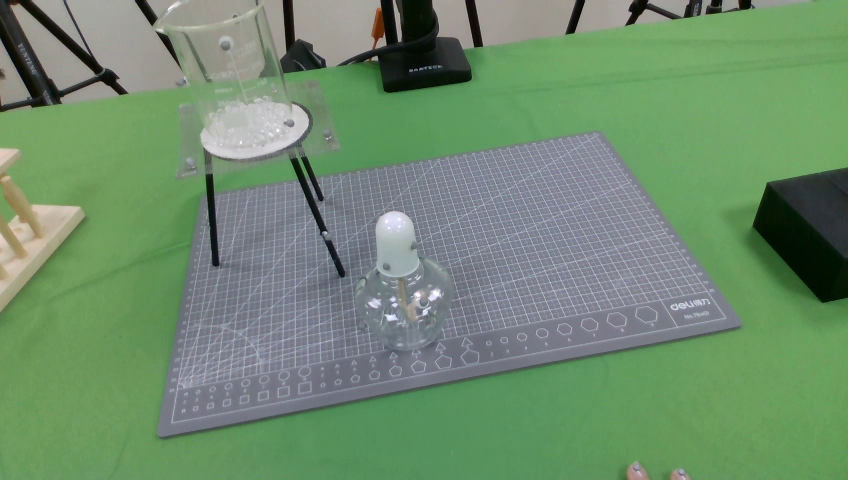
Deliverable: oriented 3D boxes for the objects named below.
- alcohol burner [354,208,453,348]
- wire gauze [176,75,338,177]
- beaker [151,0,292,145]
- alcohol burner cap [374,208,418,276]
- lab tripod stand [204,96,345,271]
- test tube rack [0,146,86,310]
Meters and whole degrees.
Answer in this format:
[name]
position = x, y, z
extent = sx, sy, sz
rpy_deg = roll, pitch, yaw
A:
[alcohol burner]
position = -0.018, 0.026, 0.460
extent = 0.078, 0.120, 0.077
rpy_deg = -4, 40, 4
[wire gauze]
position = -0.139, -0.094, 0.494
extent = 0.125, 0.011, 0.120
rpy_deg = -16, 41, -6
[beaker]
position = -0.148, -0.130, 0.461
extent = 0.084, 0.101, 0.073
rpy_deg = -14, 42, -7
[alcohol burner cap]
position = -0.021, 0.000, 0.436
extent = 0.034, 0.048, 0.033
rpy_deg = -1, 39, 2
[lab tripod stand]
position = -0.134, -0.046, 0.539
extent = 0.148, 0.133, 0.147
rpy_deg = -4, 44, 4
[test tube rack]
position = -0.417, 0.019, 0.540
extent = 0.066, 0.086, 0.240
rpy_deg = 3, 43, 10
